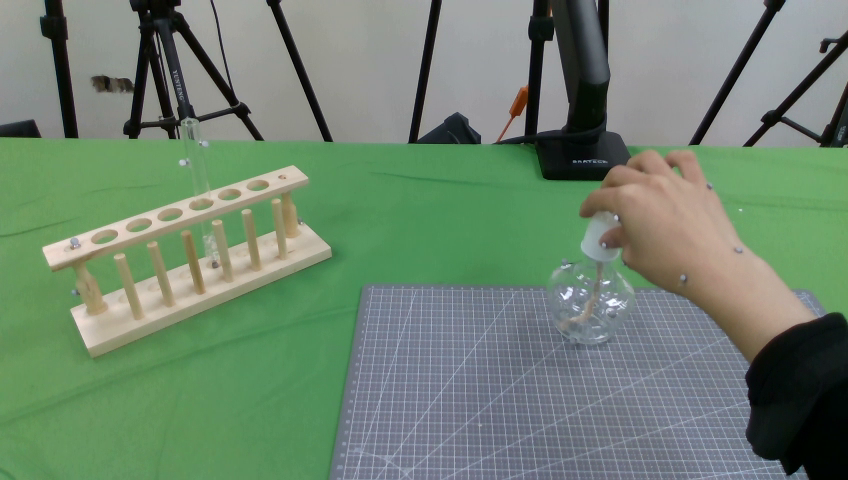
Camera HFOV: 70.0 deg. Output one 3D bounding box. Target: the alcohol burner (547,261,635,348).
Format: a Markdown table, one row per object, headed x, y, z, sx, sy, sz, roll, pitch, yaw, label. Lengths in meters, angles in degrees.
| x | y | z | sx | sy | sz | roll | pitch | yaw | label |
| --- | --- | --- | --- | --- | --- | --- | --- | --- | --- |
| 0.149 | 0.038 | 0.533 | 0.078 | 0.120 | 0.077 | 1 | 38 | 0 | alcohol burner |

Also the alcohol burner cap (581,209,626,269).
| x | y | z | sx | sy | sz | roll | pitch | yaw | label |
| --- | --- | --- | --- | --- | --- | --- | --- | --- | --- |
| 0.151 | -0.004 | 0.501 | 0.034 | 0.048 | 0.033 | 3 | 37 | -2 | alcohol burner cap |

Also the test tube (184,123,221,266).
| x | y | z | sx | sy | sz | roll | pitch | yaw | label |
| --- | --- | --- | --- | --- | --- | --- | --- | --- | --- |
| -0.211 | -0.039 | 0.582 | 0.017 | 0.151 | 0.017 | 2 | 31 | -1 | test tube |

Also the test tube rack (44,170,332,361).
| x | y | z | sx | sy | sz | roll | pitch | yaw | label |
| --- | --- | --- | --- | --- | --- | --- | --- | --- | --- |
| -0.216 | 0.016 | 0.591 | 0.243 | 0.086 | 0.066 | -24 | 42 | -29 | test tube rack |
